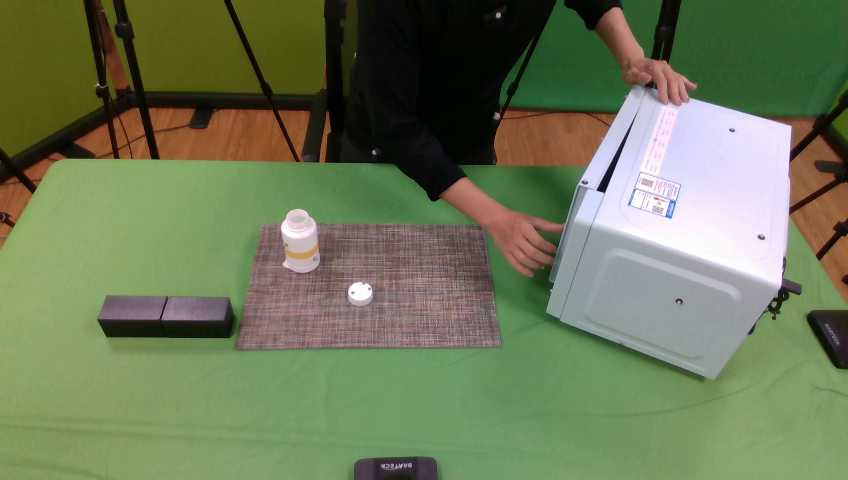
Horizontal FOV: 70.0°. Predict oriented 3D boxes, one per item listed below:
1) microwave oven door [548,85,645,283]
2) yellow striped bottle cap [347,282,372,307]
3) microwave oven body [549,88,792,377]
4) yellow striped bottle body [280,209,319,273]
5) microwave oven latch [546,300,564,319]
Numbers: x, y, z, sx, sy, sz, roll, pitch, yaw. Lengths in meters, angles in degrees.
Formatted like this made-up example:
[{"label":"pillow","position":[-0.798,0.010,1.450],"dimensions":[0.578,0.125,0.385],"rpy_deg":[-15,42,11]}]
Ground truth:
[{"label":"microwave oven door","position":[0.334,-0.110,1.151],"dimensions":[0.039,0.245,0.355],"rpy_deg":[23,49,17]},{"label":"yellow striped bottle cap","position":[-0.117,0.098,1.093],"dimensions":[0.044,0.019,0.044],"rpy_deg":[3,45,-3]},{"label":"microwave oven body","position":[0.456,-0.028,1.088],"dimensions":[0.325,0.261,0.440],"rpy_deg":[20,47,16]},{"label":"yellow striped bottle body","position":[-0.227,-0.001,1.106],"dimensions":[0.063,0.121,0.062],"rpy_deg":[2,46,-2]},{"label":"microwave oven latch","position":[0.242,0.102,1.081],"dimensions":[0.030,0.029,0.079],"rpy_deg":[22,48,17]}]
